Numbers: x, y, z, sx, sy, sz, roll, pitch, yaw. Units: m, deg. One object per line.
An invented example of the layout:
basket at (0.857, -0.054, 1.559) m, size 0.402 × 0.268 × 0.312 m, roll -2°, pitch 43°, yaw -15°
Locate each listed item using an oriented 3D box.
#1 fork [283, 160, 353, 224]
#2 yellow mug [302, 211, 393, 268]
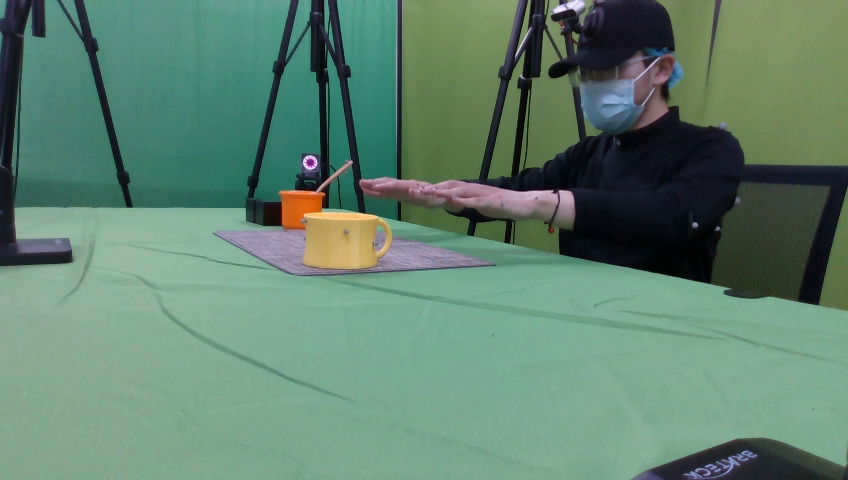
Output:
fork at (-0.214, -0.101, 1.245) m, size 0.028 × 0.019 × 0.207 m, roll -3°, pitch 43°, yaw 55°
yellow mug at (-0.098, -0.003, 0.810) m, size 0.131 × 0.064 × 0.099 m, roll -2°, pitch 8°, yaw -37°
